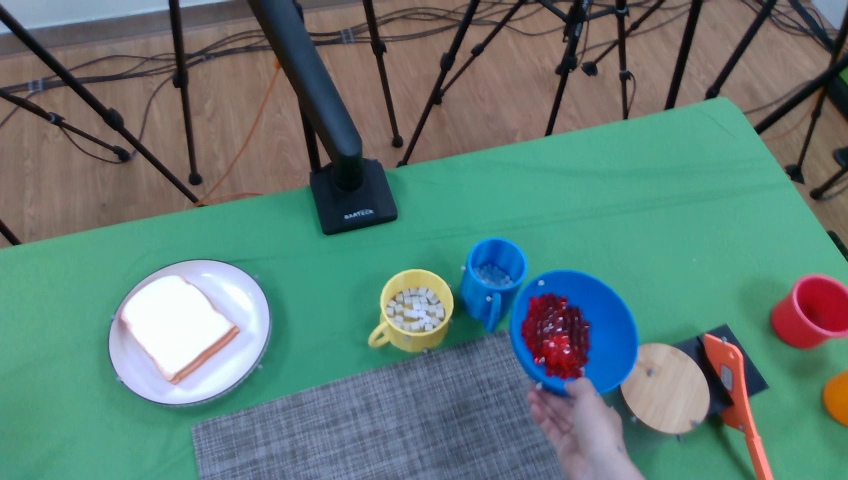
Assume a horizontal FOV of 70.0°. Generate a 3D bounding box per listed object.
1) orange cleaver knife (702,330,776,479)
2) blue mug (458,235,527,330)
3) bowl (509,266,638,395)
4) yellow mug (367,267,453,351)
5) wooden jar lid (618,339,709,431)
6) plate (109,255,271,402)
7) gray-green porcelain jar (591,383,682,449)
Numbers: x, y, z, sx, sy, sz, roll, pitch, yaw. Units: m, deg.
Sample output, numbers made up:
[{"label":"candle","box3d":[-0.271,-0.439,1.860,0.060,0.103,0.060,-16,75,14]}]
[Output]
[{"label":"orange cleaver knife","box3d":[0.411,0.221,0.794,0.012,0.077,0.211,-16,89,-12]},{"label":"blue mug","box3d":[0.093,0.068,0.844,0.082,0.106,0.115,4,60,-2]},{"label":"bowl","box3d":[0.165,0.116,0.715,0.152,0.077,0.150,5,61,-8]},{"label":"yellow mug","box3d":[-0.024,0.104,0.836,0.131,0.064,0.099,-35,67,-20]},{"label":"wooden jar lid","box3d":[0.280,0.171,0.715,0.108,0.021,0.107,3,62,-6]},{"label":"plate","box3d":[-0.310,0.119,0.820,0.208,0.039,0.206,2,60,-3]},{"label":"gray-green porcelain jar","box3d":[0.277,0.203,0.769,0.106,0.127,0.105,2,60,-3]}]
